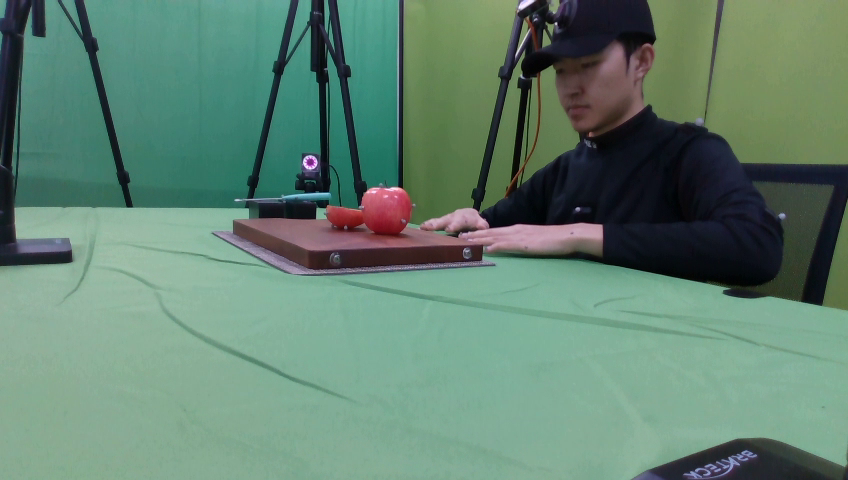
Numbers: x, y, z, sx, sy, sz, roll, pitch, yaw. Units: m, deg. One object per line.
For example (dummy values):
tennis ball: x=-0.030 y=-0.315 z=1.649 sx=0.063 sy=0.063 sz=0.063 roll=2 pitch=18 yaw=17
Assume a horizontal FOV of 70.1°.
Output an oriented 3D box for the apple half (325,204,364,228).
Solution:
apple half: x=-0.128 y=-0.035 z=0.990 sx=0.081 sy=0.033 sz=0.081 roll=10 pitch=-5 yaw=1

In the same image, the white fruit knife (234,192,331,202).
white fruit knife: x=-0.295 y=-0.088 z=1.281 sx=0.208 sy=0.016 sz=0.027 roll=-6 pitch=-2 yaw=-26

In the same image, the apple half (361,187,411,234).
apple half: x=-0.052 y=-0.045 z=0.937 sx=0.081 sy=0.074 sz=0.053 roll=2 pitch=10 yaw=-39
